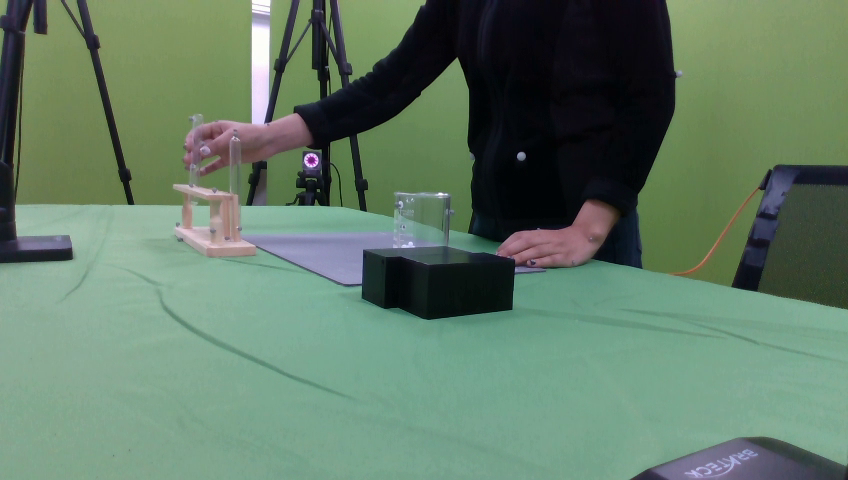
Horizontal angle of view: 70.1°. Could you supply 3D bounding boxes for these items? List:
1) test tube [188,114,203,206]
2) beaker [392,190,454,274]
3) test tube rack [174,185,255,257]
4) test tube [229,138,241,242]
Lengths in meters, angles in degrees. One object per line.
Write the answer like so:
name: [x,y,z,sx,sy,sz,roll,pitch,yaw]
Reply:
test tube: [-0.361,-0.127,0.956,0.017,0.150,0.017,0,-9,0]
beaker: [-0.005,-0.011,0.760,0.074,0.100,0.083,-2,8,-32]
test tube rack: [-0.324,-0.035,0.922,0.067,0.085,0.241,-2,9,-32]
test tube: [-0.270,-0.071,0.865,0.017,0.150,0.017,2,8,0]
